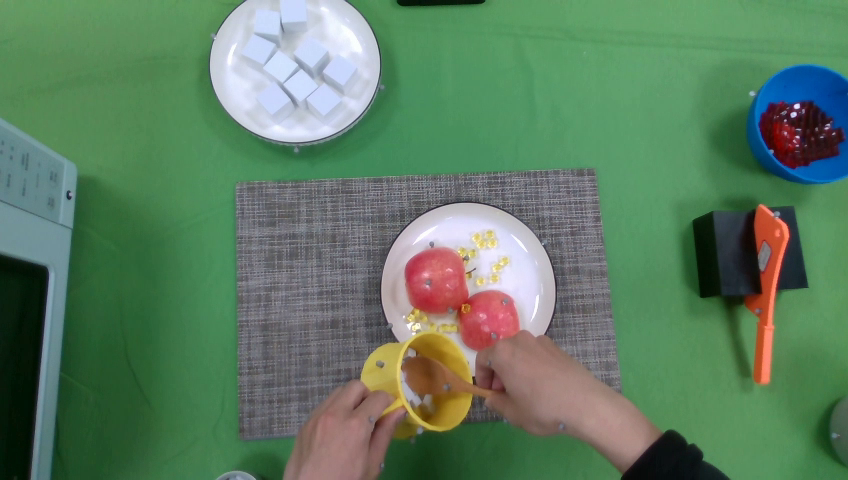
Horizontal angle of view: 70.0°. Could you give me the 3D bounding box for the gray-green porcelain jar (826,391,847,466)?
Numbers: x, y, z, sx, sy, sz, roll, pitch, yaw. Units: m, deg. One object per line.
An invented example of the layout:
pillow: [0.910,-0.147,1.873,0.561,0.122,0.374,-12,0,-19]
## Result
gray-green porcelain jar: [0.533,0.220,0.678,0.106,0.127,0.105,1,80,-4]

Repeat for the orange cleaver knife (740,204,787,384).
orange cleaver knife: [0.396,0.064,0.719,0.012,0.077,0.212,-2,104,0]

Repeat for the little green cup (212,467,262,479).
little green cup: [-0.205,0.279,0.665,0.061,0.039,0.061,1,81,-4]

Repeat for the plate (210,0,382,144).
plate: [-0.156,-0.215,0.754,0.208,0.039,0.207,1,80,-3]

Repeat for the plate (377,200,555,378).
plate: [0.048,0.057,0.716,0.209,0.038,0.208,1,81,-4]

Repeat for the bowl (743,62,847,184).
bowl: [0.462,-0.135,0.759,0.151,0.077,0.151,1,81,-3]

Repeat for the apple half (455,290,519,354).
apple half: [0.075,0.095,0.706,0.081,0.033,0.081,1,77,-3]

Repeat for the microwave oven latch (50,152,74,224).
microwave oven latch: [-0.420,-0.059,0.691,0.030,0.029,0.079,1,81,-4]

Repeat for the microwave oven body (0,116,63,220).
microwave oven body: [-0.562,0.096,0.557,0.326,0.260,0.440,0,81,-4]

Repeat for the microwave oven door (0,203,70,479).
microwave oven door: [-0.416,0.139,0.555,0.039,0.244,0.354,0,80,-3]

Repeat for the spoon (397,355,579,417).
spoon: [0.056,0.147,0.589,0.192,0.022,0.041,6,93,36]

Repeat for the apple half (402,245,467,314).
apple half: [0.012,0.045,0.701,0.075,0.053,0.080,-5,82,-2]

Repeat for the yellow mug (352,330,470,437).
yellow mug: [-0.019,0.153,0.612,0.131,0.064,0.100,-26,90,-45]
